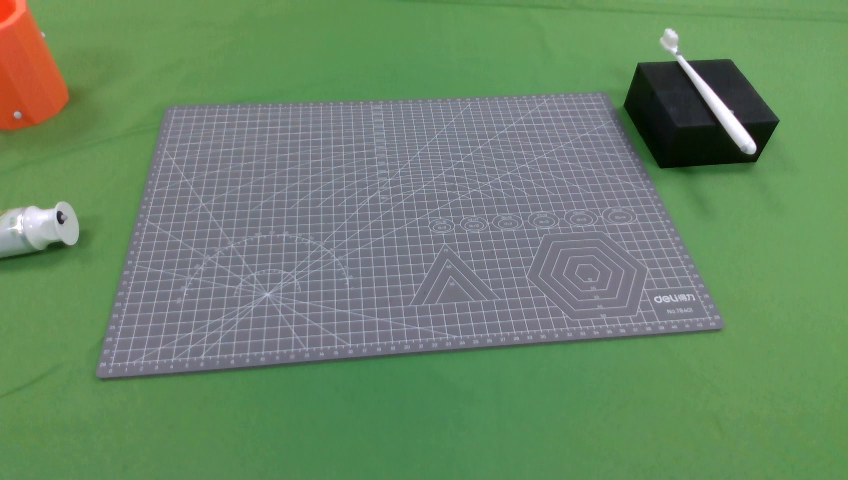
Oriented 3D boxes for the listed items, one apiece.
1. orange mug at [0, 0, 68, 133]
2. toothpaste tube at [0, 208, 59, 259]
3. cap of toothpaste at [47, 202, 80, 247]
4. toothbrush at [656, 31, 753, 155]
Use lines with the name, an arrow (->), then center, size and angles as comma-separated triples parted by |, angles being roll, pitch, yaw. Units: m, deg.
orange mug -> -0.404, -0.154, 0.548 | 0.083, 0.101, 0.126 | 29, 49, 20
toothpaste tube -> -0.359, 0.000, 0.465 | 0.165, 0.035, 0.054 | -10, 46, -7
cap of toothpaste -> -0.281, -0.012, 0.471 | 0.011, 0.038, 0.037 | -11, 50, -8
toothbrush -> 0.260, -0.143, 0.567 | 0.014, 0.017, 0.180 | -3, 50, -11
